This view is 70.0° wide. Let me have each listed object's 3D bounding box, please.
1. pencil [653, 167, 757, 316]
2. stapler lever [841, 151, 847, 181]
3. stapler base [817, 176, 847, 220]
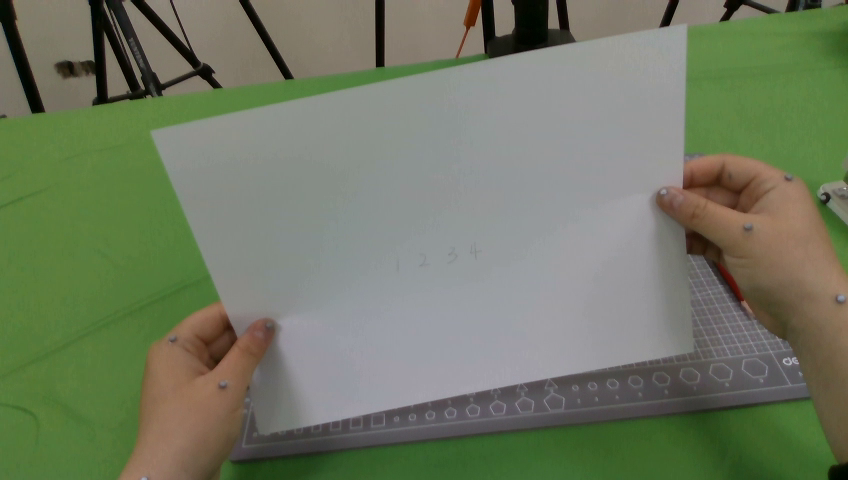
[{"bbox_3d":[0.245,-0.006,0.537,0.012,0.012,0.192,-9,43,-1],"label":"pencil"},{"bbox_3d":[0.394,-0.038,0.504,0.027,0.040,0.117,-12,43,0],"label":"stapler lever"},{"bbox_3d":[0.397,-0.020,0.522,0.041,0.025,0.129,-12,43,0],"label":"stapler base"}]
